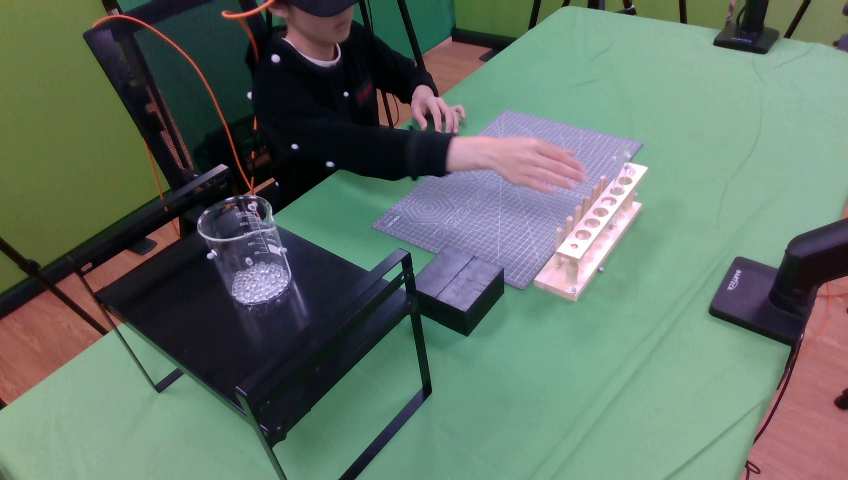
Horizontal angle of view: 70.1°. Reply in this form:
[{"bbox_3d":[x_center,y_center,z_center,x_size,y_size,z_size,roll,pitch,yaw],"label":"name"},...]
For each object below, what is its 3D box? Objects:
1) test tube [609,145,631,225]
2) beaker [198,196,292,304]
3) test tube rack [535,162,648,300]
[{"bbox_3d":[0.290,-0.078,0.896,0.017,0.151,0.017,-4,46,5],"label":"test tube"},{"bbox_3d":[-0.185,0.014,0.651,0.083,0.101,0.074,9,44,18],"label":"beaker"},{"bbox_3d":[0.257,-0.024,0.916,0.066,0.085,0.243,22,49,30],"label":"test tube rack"}]
